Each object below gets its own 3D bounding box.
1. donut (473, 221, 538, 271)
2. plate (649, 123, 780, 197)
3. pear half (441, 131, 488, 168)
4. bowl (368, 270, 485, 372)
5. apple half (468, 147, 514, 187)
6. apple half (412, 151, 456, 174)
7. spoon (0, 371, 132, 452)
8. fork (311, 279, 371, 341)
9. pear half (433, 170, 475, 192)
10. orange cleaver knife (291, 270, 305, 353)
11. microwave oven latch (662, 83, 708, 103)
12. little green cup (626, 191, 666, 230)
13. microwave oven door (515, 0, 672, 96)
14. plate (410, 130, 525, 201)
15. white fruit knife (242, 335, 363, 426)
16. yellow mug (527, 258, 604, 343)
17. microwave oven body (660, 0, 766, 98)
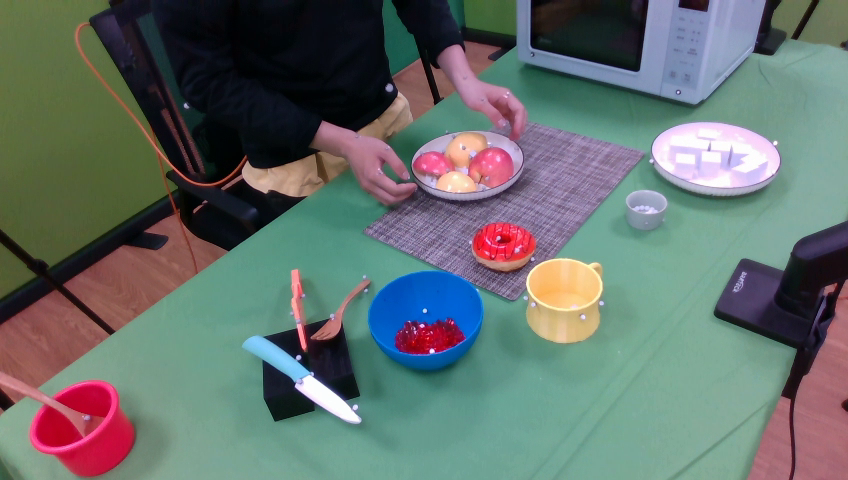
[{"bbox_3d":[0.123,0.008,0.923,0.099,0.048,0.098,-3,38,3],"label":"donut"},{"bbox_3d":[0.497,-0.135,1.046,0.207,0.039,0.206,-4,40,4],"label":"plate"},{"bbox_3d":[0.064,-0.173,1.129,0.110,0.056,0.076,-8,35,5],"label":"pear half"},{"bbox_3d":[0.007,0.118,0.791,0.151,0.077,0.150,-5,40,4],"label":"bowl"},{"bbox_3d":[0.119,-0.137,1.073,0.080,0.053,0.075,25,48,39],"label":"apple half"},{"bbox_3d":[0.022,-0.144,1.097,0.081,0.033,0.081,7,21,-2],"label":"apple half"},{"bbox_3d":[-0.439,0.195,0.715,0.195,0.021,0.041,38,41,-16],"label":"spoon"},{"bbox_3d":[-0.108,0.092,0.832,0.028,0.019,0.207,-6,19,15],"label":"fork"},{"bbox_3d":[0.052,-0.105,1.052,0.071,0.031,0.087,-6,33,-30],"label":"pear half"},{"bbox_3d":[-0.175,0.094,0.844,0.012,0.077,0.210,-11,14,-10],"label":"orange cleaver knife"},{"bbox_3d":[0.518,-0.296,1.204,0.078,0.029,0.030,28,52,35],"label":"microwave oven latch"},{"bbox_3d":[0.352,-0.046,0.963,0.061,0.039,0.061,-4,40,4],"label":"little green cup"},{"bbox_3d":[0.343,-0.454,1.259,0.353,0.245,0.039,26,51,33],"label":"microwave oven door"},{"bbox_3d":[0.079,-0.133,1.101,0.209,0.038,0.208,-4,40,4],"label":"plate"},{"bbox_3d":[-0.148,0.167,0.730,0.206,0.016,0.027,26,80,31],"label":"white fruit knife"},{"bbox_3d":[0.201,0.073,0.825,0.131,0.064,0.099,-32,46,-27],"label":"yellow mug"},{"bbox_3d":[0.472,-0.513,1.317,0.438,0.261,0.327,26,51,34],"label":"microwave oven body"}]
